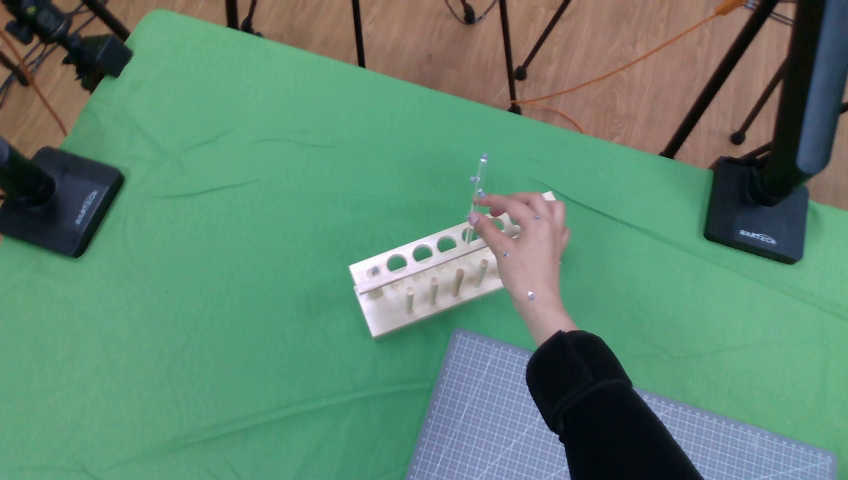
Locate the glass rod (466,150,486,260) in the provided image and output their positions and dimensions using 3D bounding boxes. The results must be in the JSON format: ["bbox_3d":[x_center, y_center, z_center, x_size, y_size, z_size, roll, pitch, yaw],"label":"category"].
[{"bbox_3d":[0.053,-0.029,0.640,0.008,0.201,0.008,0,59,0],"label":"glass rod"}]

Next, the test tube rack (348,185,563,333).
[{"bbox_3d":[0.042,0.023,0.691,0.242,0.086,0.066,-21,71,-10],"label":"test tube rack"}]
